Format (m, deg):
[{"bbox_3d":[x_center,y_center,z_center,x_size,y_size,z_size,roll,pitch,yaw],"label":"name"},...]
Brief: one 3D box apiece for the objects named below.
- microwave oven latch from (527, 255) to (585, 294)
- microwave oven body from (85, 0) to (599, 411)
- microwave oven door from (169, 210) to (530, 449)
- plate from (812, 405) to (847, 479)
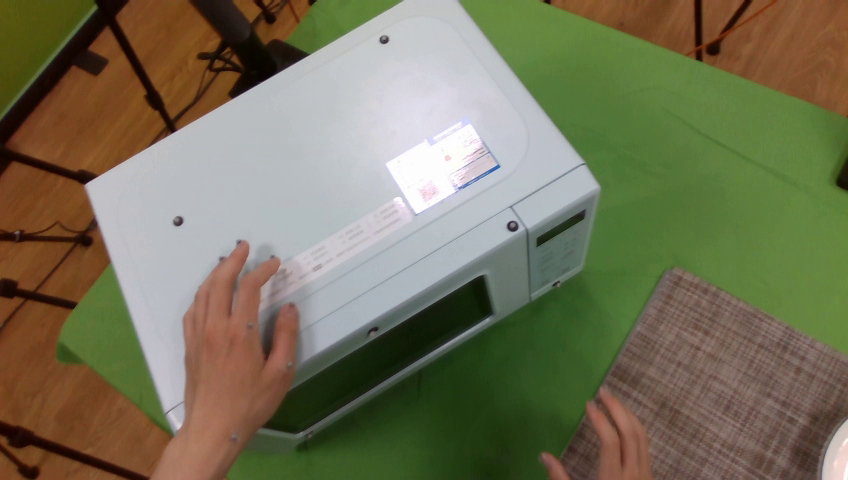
[{"bbox_3d":[0.158,0.034,0.743,0.079,0.030,0.030,-29,68,-1],"label":"microwave oven latch"},{"bbox_3d":[-0.082,-0.025,0.703,0.442,0.262,0.323,-31,68,-2],"label":"microwave oven body"},{"bbox_3d":[-0.049,0.109,0.641,0.356,0.246,0.039,-31,66,-2],"label":"microwave oven door"},{"bbox_3d":[0.504,0.257,0.612,0.207,0.039,0.206,-3,69,9],"label":"plate"}]
